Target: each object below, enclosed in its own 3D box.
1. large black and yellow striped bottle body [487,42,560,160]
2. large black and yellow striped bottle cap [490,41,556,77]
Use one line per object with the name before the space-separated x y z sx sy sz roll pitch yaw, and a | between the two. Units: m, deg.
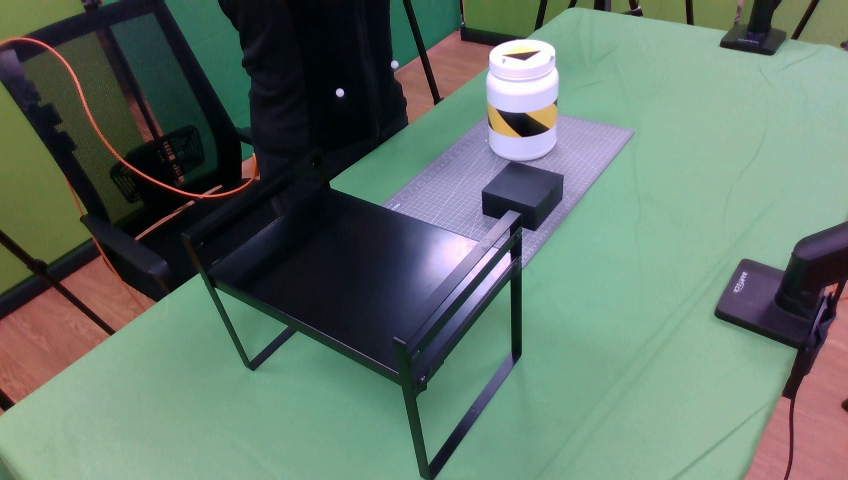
large black and yellow striped bottle body | 0.184 -0.258 1.119 0.131 0.185 0.130 -4 41 4
large black and yellow striped bottle cap | 0.174 -0.320 1.065 0.115 0.019 0.114 -4 39 4
